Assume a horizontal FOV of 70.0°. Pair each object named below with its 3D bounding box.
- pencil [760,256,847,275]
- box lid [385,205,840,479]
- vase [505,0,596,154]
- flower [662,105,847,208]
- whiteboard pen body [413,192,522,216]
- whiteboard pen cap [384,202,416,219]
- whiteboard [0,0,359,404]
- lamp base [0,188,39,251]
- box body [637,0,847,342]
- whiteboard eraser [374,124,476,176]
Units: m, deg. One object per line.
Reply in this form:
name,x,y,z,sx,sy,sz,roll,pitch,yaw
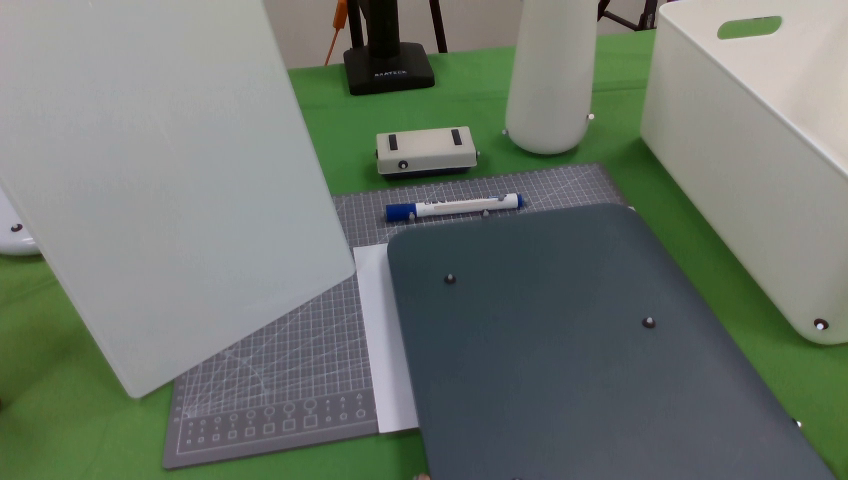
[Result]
pencil,0.408,0.031,0.550,0.194,0.012,0.012,7,43,7
box lid,0.117,0.090,0.482,0.264,0.015,0.367,-6,38,-8
vase,0.145,-0.197,0.676,0.098,0.202,0.097,0,43,1
flower,0.413,-0.055,0.634,0.044,0.038,0.358,-27,50,-32
whiteboard pen body,0.034,-0.037,0.637,0.141,0.017,0.017,-6,43,-4
whiteboard pen cap,-0.025,-0.030,0.633,0.033,0.018,0.018,-4,43,-6
whiteboard,-0.220,-0.066,0.510,0.217,0.308,0.142,-30,30,-26
lamp base,-0.417,-0.105,0.610,0.178,0.182,0.160,20,47,25
box body,0.397,-0.093,0.582,0.254,0.162,0.360,-9,43,-6
whiteboard eraser,0.000,-0.101,0.694,0.113,0.042,0.055,-7,41,-4
